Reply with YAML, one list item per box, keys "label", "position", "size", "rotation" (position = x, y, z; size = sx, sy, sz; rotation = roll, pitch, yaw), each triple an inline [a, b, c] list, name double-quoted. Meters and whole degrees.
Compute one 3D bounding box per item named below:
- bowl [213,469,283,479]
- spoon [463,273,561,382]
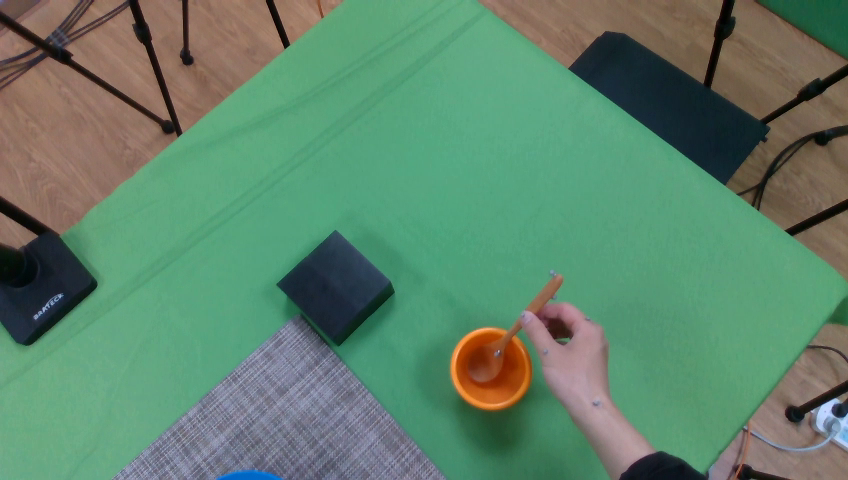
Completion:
- label: "bowl"
  position: [-0.186, 0.327, 0.656]
  size: [0.151, 0.077, 0.150]
  rotation: [-1, 71, 3]
- label: "spoon"
  position: [0.097, 0.101, 0.672]
  size: [0.041, 0.194, 0.021]
  rotation: [43, 43, 11]
